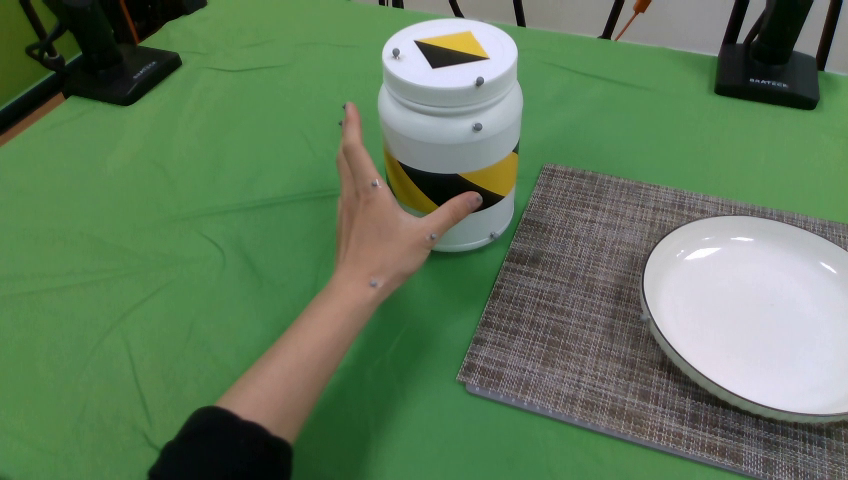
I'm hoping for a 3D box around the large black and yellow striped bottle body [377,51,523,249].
[{"bbox_3d":[0.025,-0.096,0.575,0.131,0.186,0.129,-1,47,2],"label":"large black and yellow striped bottle body"}]

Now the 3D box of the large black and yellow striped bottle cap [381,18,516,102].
[{"bbox_3d":[0.021,-0.155,0.513,0.115,0.019,0.114,0,46,0],"label":"large black and yellow striped bottle cap"}]

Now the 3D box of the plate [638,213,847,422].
[{"bbox_3d":[0.285,0.061,0.510,0.207,0.039,0.205,-1,47,2],"label":"plate"}]
